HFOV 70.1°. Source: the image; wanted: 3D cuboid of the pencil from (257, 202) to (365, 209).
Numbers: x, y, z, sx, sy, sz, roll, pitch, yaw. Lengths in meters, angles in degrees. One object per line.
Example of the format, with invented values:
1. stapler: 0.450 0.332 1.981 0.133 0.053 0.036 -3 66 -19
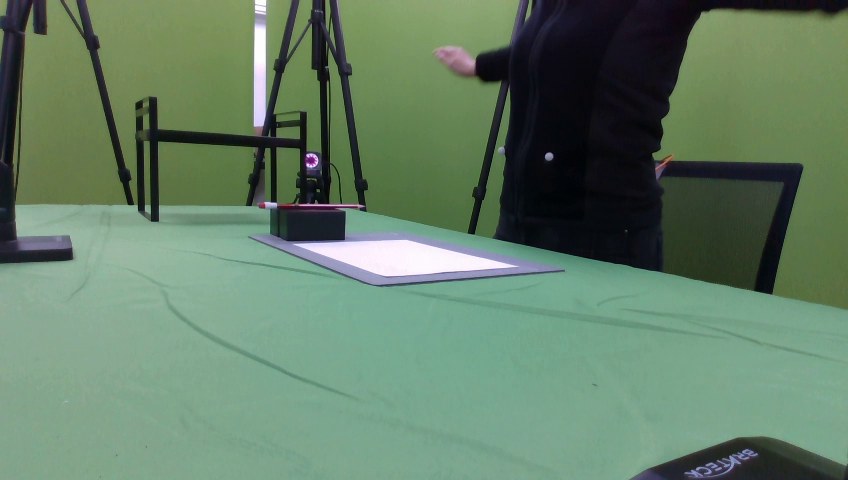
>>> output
1. pencil: -0.191 -0.060 1.046 0.195 0.012 0.012 -2 9 -30
